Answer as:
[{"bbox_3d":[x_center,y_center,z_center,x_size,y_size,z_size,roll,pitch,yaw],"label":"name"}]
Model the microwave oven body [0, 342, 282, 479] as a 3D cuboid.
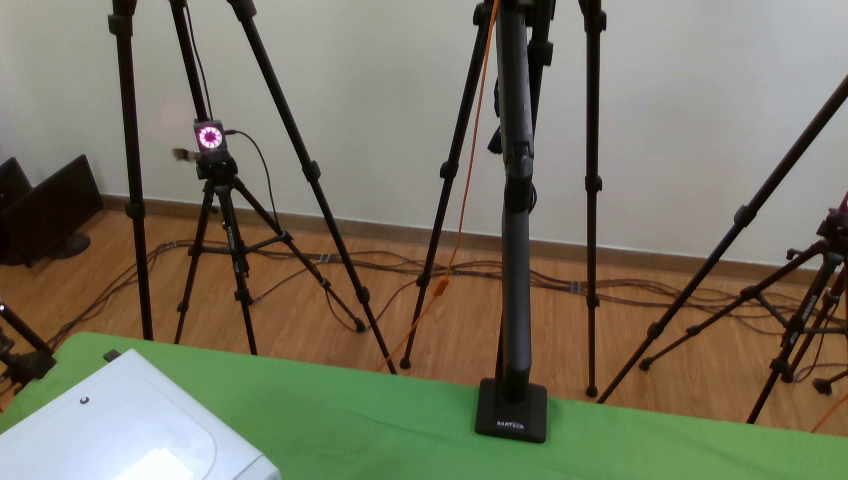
[{"bbox_3d":[-0.427,0.393,0.716,0.323,0.262,0.441,26,46,27],"label":"microwave oven body"}]
